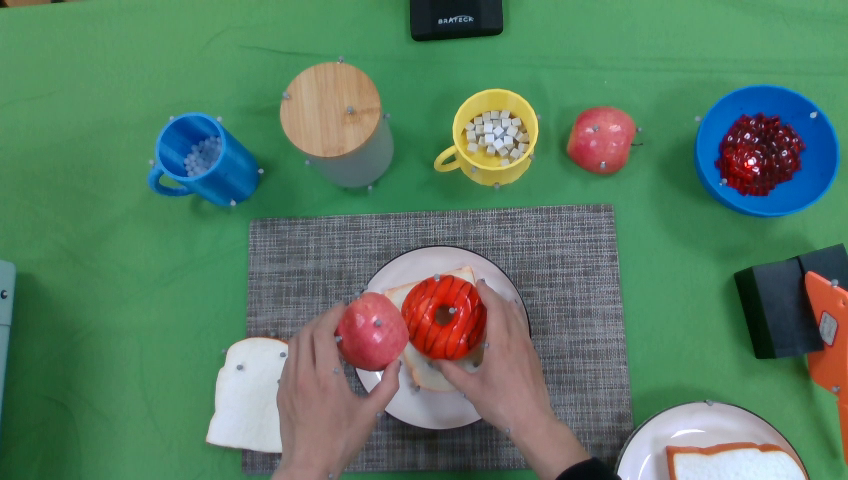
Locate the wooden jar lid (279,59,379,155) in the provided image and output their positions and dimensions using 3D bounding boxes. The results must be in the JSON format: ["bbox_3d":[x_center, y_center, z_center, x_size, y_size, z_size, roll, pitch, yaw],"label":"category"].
[{"bbox_3d":[-0.101,-0.141,0.650,0.108,0.021,0.108,-1,77,5],"label":"wooden jar lid"}]

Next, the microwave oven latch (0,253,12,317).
[{"bbox_3d":[-0.526,0.054,0.737,0.030,0.029,0.079,1,80,5],"label":"microwave oven latch"}]

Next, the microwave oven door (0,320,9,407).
[{"bbox_3d":[-0.532,0.249,0.597,0.039,0.245,0.354,-2,79,5],"label":"microwave oven door"}]

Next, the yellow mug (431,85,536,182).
[{"bbox_3d":[0.068,-0.119,0.727,0.131,0.064,0.099,-26,78,0],"label":"yellow mug"}]

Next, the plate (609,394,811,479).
[{"bbox_3d":[0.301,0.270,0.649,0.209,0.038,0.208,-1,79,5],"label":"plate"}]

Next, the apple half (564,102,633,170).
[{"bbox_3d":[0.211,-0.130,0.724,0.074,0.053,0.080,20,82,11],"label":"apple half"}]

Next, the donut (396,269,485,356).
[{"bbox_3d":[0.019,0.081,0.675,0.099,0.048,0.098,0,78,2],"label":"donut"}]

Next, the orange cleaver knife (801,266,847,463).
[{"bbox_3d":[0.431,0.133,0.642,0.012,0.077,0.212,-13,100,-5],"label":"orange cleaver knife"}]

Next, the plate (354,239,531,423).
[{"bbox_3d":[0.018,0.103,0.700,0.207,0.039,0.206,-1,79,5],"label":"plate"}]

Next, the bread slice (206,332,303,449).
[{"bbox_3d":[-0.198,0.175,0.715,0.105,0.019,0.131,5,82,5],"label":"bread slice"}]

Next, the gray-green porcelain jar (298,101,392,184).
[{"bbox_3d":[-0.095,-0.128,0.711,0.106,0.127,0.105,-1,79,5],"label":"gray-green porcelain jar"}]

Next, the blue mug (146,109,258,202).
[{"bbox_3d":[-0.273,-0.090,0.728,0.116,0.106,0.082,-28,78,-1],"label":"blue mug"}]

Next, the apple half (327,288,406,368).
[{"bbox_3d":[-0.057,0.090,0.596,0.081,0.033,0.081,0,89,3],"label":"apple half"}]

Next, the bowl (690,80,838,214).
[{"bbox_3d":[0.372,-0.096,0.691,0.151,0.077,0.151,-1,80,5],"label":"bowl"}]
